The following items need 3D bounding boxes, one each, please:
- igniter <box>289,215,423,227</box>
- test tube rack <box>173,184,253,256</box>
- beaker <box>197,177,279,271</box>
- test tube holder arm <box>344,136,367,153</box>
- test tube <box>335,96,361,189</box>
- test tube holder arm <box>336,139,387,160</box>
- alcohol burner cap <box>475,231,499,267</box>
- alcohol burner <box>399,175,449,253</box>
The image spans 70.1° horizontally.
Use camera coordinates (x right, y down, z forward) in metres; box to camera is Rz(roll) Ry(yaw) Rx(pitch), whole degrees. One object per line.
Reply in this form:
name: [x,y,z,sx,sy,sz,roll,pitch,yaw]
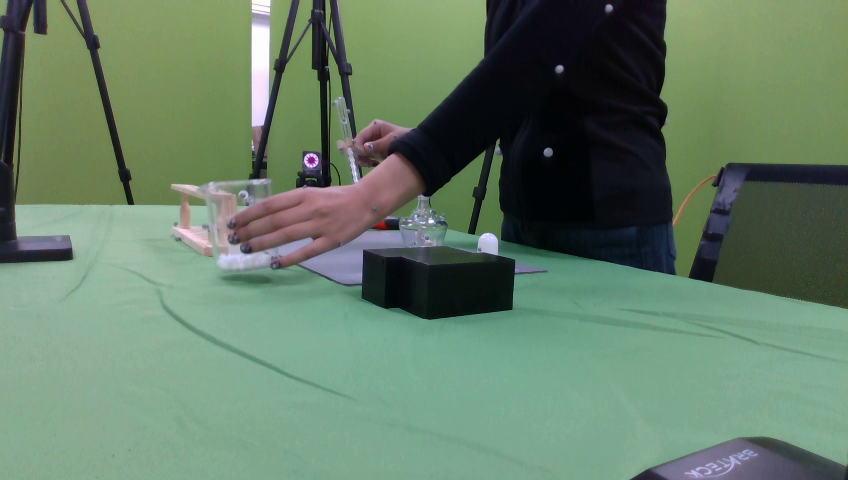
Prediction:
igniter: [-0.133,-0.038,1.231,0.278,0.025,0.057,-1,-2,-25]
test tube rack: [-0.329,-0.036,0.927,0.067,0.085,0.241,-2,9,-32]
beaker: [-0.206,-0.018,0.680,0.084,0.100,0.074,-6,8,-15]
test tube holder arm: [-0.109,-0.153,0.978,0.010,0.015,0.088,-11,-3,11]
test tube: [-0.120,-0.155,0.957,0.017,0.150,0.017,-12,-3,0]
test tube holder arm: [-0.102,-0.152,1.023,0.013,0.015,0.179,-11,-3,19]
alcohol burner cap: [0.087,0.012,0.830,0.034,0.048,0.034,2,5,0]
alcohol burner: [-0.001,-0.041,0.937,0.078,0.119,0.078,0,8,0]
